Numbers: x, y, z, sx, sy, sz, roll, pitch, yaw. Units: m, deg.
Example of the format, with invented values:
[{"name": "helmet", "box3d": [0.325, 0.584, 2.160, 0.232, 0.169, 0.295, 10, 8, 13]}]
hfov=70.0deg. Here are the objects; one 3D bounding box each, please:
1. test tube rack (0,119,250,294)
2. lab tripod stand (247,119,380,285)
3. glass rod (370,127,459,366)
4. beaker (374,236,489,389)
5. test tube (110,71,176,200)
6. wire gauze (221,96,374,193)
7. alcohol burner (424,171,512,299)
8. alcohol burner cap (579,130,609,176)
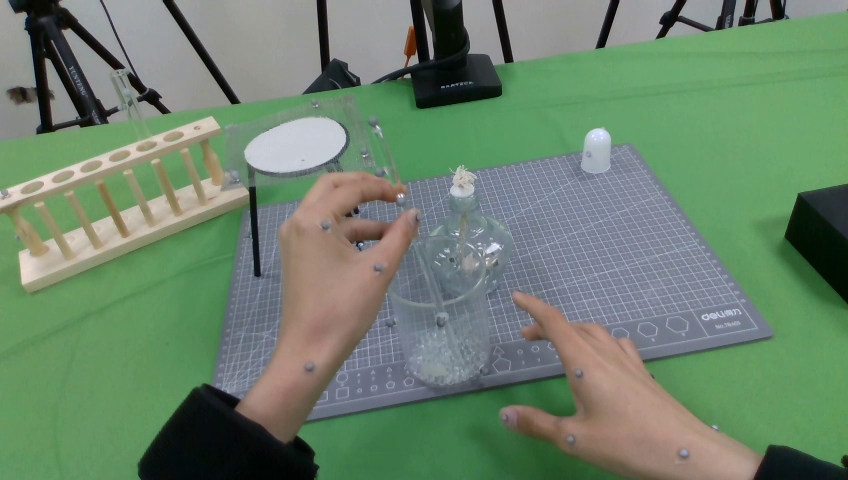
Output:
[{"name": "test tube rack", "box3d": [-0.322, -0.041, 0.654, 0.242, 0.086, 0.066, -25, 43, -19]}, {"name": "lab tripod stand", "box3d": [-0.104, -0.032, 0.563, 0.148, 0.133, 0.147, -5, 42, 5]}, {"name": "glass rod", "box3d": [-0.003, 0.015, 0.411, 0.008, 0.201, 0.008, -13, 32, 9]}, {"name": "beaker", "box3d": [0.010, 0.059, 0.462, 0.084, 0.101, 0.073, -4, 40, 6]}, {"name": "test tube", "box3d": [-0.299, -0.107, 0.651, 0.017, 0.151, 0.017, -4, 37, 4]}, {"name": "wire gauze", "box3d": [-0.112, -0.083, 0.519, 0.125, 0.011, 0.120, -14, 40, -5]}, {"name": "alcohol burner", "box3d": [0.037, -0.007, 0.524, 0.078, 0.120, 0.077, -5, 38, 5]}, {"name": "alcohol burner cap", "box3d": [0.186, -0.098, 0.661, 0.034, 0.048, 0.033, -5, 40, 4]}]
